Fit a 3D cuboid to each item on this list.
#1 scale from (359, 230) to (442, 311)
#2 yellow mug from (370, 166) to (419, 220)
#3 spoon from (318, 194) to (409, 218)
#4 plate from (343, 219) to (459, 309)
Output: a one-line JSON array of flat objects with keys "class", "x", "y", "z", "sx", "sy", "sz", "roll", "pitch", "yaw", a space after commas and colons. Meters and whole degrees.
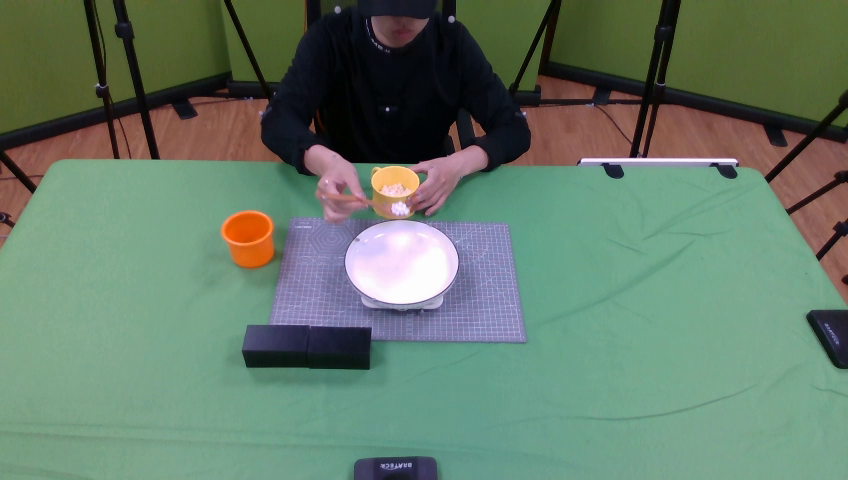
[{"class": "scale", "x": -0.043, "y": 0.048, "z": 1.137, "sx": 0.149, "sy": 0.032, "sz": 0.199, "roll": 2, "pitch": 45, "yaw": -3}, {"class": "yellow mug", "x": -0.072, "y": -0.107, "z": 1.267, "sx": 0.100, "sy": 0.064, "sz": 0.130, "roll": -29, "pitch": 53, "yaw": -30}, {"class": "spoon", "x": -0.103, "y": -0.065, "z": 1.065, "sx": 0.194, "sy": 0.021, "sz": 0.041, "roll": 12, "pitch": 33, "yaw": -45}, {"class": "plate", "x": -0.041, "y": 0.046, "z": 1.094, "sx": 0.209, "sy": 0.038, "sz": 0.208, "roll": 2, "pitch": 46, "yaw": -2}]
